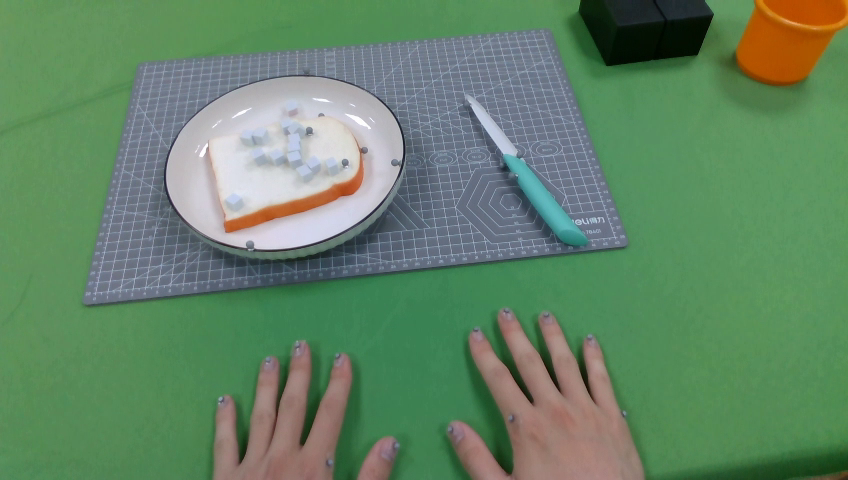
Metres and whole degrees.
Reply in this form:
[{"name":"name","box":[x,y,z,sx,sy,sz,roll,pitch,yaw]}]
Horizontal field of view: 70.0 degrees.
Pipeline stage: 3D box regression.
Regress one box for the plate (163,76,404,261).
[{"name":"plate","box":[-0.120,-0.065,0.541,0.209,0.038,0.207,0,55,0]}]

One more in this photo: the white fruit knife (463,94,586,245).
[{"name":"white fruit knife","box":[0.083,-0.072,0.558,0.027,0.016,0.205,0,47,-36]}]

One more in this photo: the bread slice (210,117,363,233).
[{"name":"bread slice","box":[-0.123,-0.068,0.545,0.132,0.019,0.104,-19,57,-11]}]
